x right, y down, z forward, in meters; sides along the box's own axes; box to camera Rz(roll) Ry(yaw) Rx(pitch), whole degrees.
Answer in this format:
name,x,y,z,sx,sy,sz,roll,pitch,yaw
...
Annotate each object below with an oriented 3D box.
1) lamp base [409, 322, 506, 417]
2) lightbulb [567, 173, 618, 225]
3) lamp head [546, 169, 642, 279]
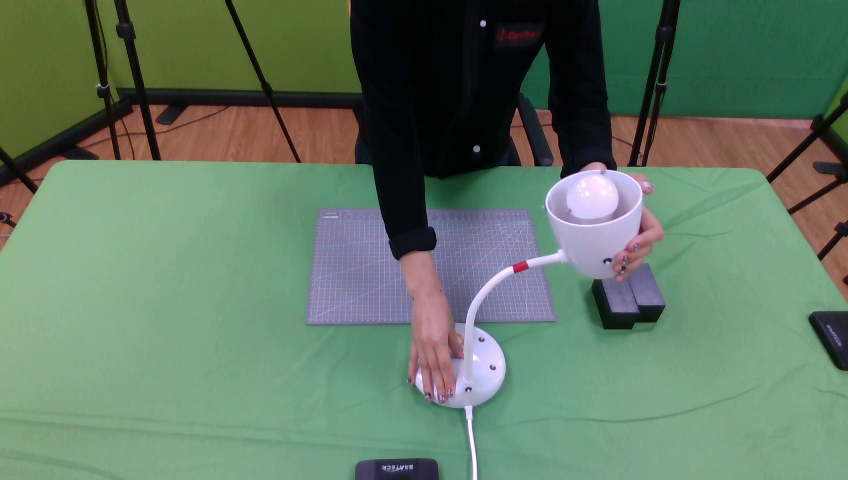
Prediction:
name,x,y,z,sx,sy,sz,roll,pitch,yaw
lamp base,0.060,0.160,0.938,0.161,0.181,0.178,-12,51,-11
lightbulb,0.209,-0.033,0.742,0.059,0.108,0.059,-13,36,10
lamp head,0.210,-0.009,0.752,0.112,0.123,0.111,-7,39,6
